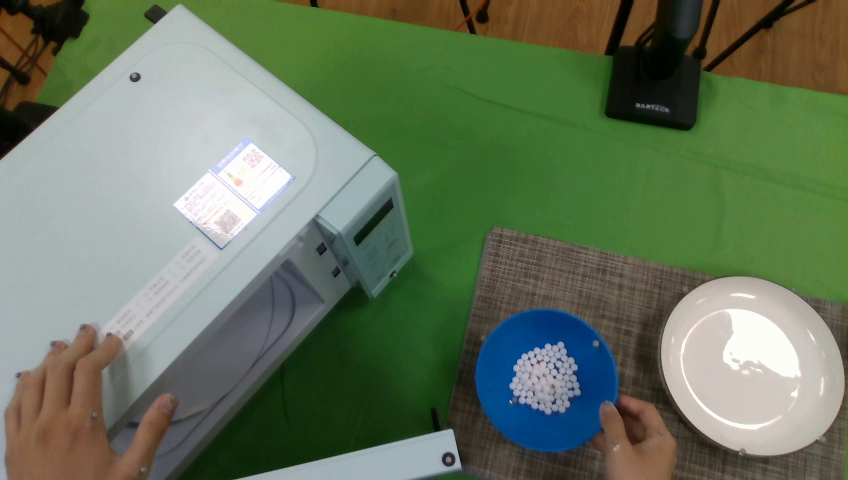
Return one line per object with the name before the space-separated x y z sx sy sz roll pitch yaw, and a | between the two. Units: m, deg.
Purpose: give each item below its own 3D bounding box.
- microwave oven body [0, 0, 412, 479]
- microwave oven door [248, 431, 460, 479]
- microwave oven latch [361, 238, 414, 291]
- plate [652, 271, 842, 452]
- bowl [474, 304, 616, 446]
microwave oven body | -0.279 0.032 0.654 0.324 0.262 0.441 39 78 13
microwave oven door | -0.141 0.235 0.574 0.356 0.245 0.039 -13 70 -2
microwave oven latch | -0.046 0.024 0.749 0.030 0.030 0.079 41 78 14
plate | 0.370 0.140 0.708 0.207 0.039 0.206 -1 71 2
bowl | 0.132 0.152 0.680 0.151 0.077 0.150 -2 73 6
